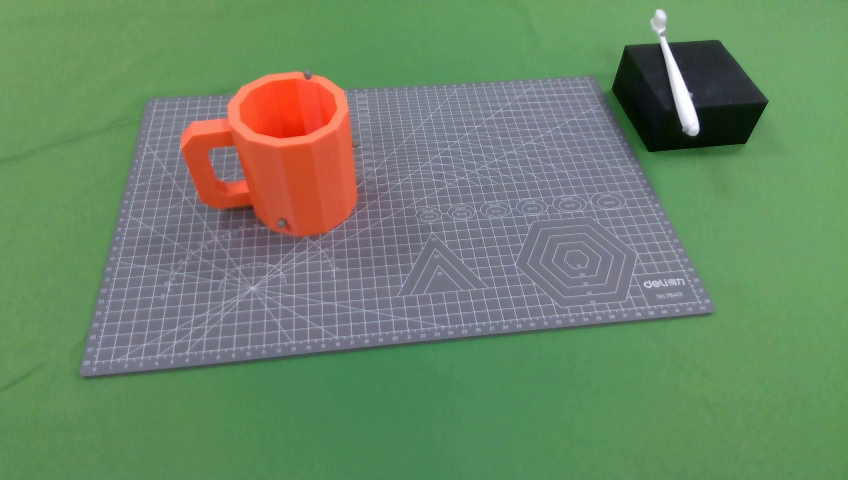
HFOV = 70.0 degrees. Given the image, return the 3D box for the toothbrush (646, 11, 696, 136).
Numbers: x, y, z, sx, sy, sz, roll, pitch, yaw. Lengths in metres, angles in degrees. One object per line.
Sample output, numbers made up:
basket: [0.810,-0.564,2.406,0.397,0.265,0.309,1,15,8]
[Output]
toothbrush: [0.227,-0.159,0.559,0.014,0.017,0.180,6,51,-1]

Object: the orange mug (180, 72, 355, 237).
orange mug: [-0.118,-0.063,0.469,0.126,0.101,0.082,-8,51,-14]
